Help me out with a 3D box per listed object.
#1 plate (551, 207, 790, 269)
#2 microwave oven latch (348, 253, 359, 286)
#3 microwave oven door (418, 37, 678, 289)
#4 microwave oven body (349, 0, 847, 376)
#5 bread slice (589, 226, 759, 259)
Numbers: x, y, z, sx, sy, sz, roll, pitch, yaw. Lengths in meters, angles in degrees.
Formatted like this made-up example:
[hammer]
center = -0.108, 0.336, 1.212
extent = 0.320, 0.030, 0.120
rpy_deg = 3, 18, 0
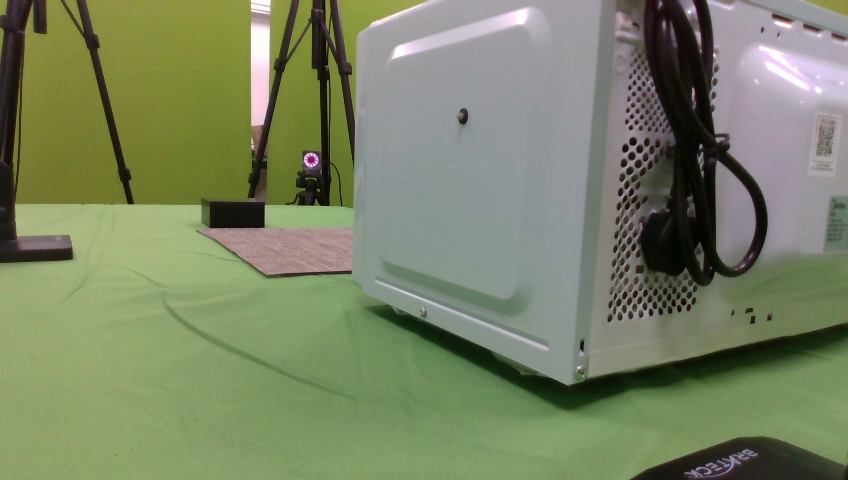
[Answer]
[plate]
center = 0.224, -0.004, 0.572
extent = 0.209, 0.038, 0.209
rpy_deg = 4, 7, 0
[microwave oven latch]
center = -0.034, 0.028, 0.581
extent = 0.079, 0.029, 0.030
rpy_deg = -1, 7, -32
[microwave oven door]
center = 0.159, -0.079, 0.684
extent = 0.358, 0.243, 0.039
rpy_deg = -2, 9, -32
[microwave oven body]
center = 0.199, -0.053, 0.540
extent = 0.444, 0.260, 0.324
rpy_deg = -1, 7, -32
[bread slice]
center = 0.226, 0.001, 0.568
extent = 0.132, 0.019, 0.104
rpy_deg = 4, 5, -23
